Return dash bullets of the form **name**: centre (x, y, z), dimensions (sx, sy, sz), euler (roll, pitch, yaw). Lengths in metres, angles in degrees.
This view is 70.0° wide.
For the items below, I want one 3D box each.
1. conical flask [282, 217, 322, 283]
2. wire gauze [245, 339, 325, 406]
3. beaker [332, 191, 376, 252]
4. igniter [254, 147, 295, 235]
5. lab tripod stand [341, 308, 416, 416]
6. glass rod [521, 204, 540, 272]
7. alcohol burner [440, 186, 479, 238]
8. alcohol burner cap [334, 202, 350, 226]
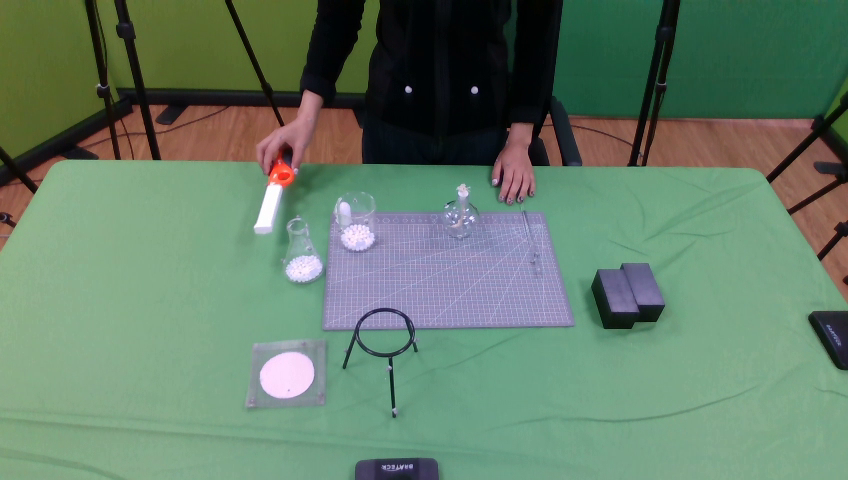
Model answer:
- **conical flask**: centre (-0.225, 0.016, 1.097), dimensions (0.075, 0.122, 0.075), euler (2, 46, -2)
- **wire gauze**: centre (-0.224, 0.214, 0.984), dimensions (0.125, 0.011, 0.120), euler (-2, 46, -5)
- **beaker**: centre (-0.133, -0.032, 1.163), dimensions (0.084, 0.101, 0.073), euler (-19, 50, -20)
- **igniter**: centre (-0.300, -0.108, 1.223), dimensions (0.057, 0.025, 0.275), euler (-2, 42, 1)
- **lab tripod stand**: centre (-0.061, 0.177, 0.946), dimensions (0.148, 0.132, 0.147), euler (2, 44, -2)
- **glass rod**: centre (0.215, -0.008, 1.230), dimensions (0.008, 0.008, 0.198), euler (0, 43, -3)
- **alcohol burner**: centre (0.072, -0.062, 1.198), dimensions (0.078, 0.119, 0.077), euler (3, 47, -3)
- **alcohol burner cap**: centre (-0.166, -0.056, 1.222), dimensions (0.034, 0.048, 0.033), euler (2, 46, -2)
